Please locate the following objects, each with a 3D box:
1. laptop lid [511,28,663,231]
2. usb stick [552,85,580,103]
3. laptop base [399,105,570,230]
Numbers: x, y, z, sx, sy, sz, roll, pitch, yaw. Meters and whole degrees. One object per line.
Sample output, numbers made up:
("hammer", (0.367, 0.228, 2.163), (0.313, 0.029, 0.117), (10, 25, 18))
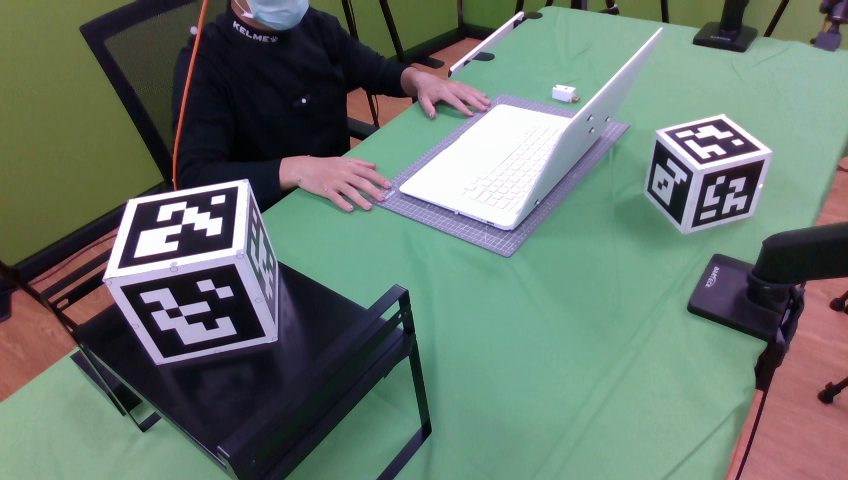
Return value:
("laptop lid", (0.265, -0.179, 0.972), (0.013, 0.242, 0.357), (36, 53, 14))
("usb stick", (0.303, -0.308, 1.282), (0.059, 0.027, 0.021), (25, 46, 29))
("laptop base", (0.149, -0.147, 1.123), (0.233, 0.023, 0.355), (20, 47, 32))
